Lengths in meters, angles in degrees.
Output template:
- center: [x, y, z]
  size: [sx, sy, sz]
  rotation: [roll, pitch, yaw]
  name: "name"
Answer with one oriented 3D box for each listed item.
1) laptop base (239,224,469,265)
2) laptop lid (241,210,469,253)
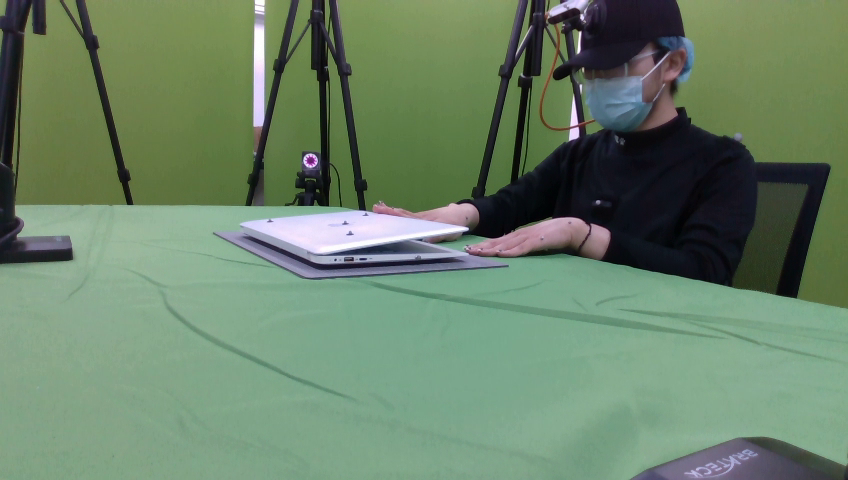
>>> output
- center: [-0.123, 0.005, 0.936]
  size: [0.237, 0.023, 0.352]
  rotation: [2, 7, -33]
  name: "laptop base"
- center: [-0.122, -0.022, 0.932]
  size: [0.243, 0.013, 0.355]
  rotation: [-7, 11, -30]
  name: "laptop lid"
